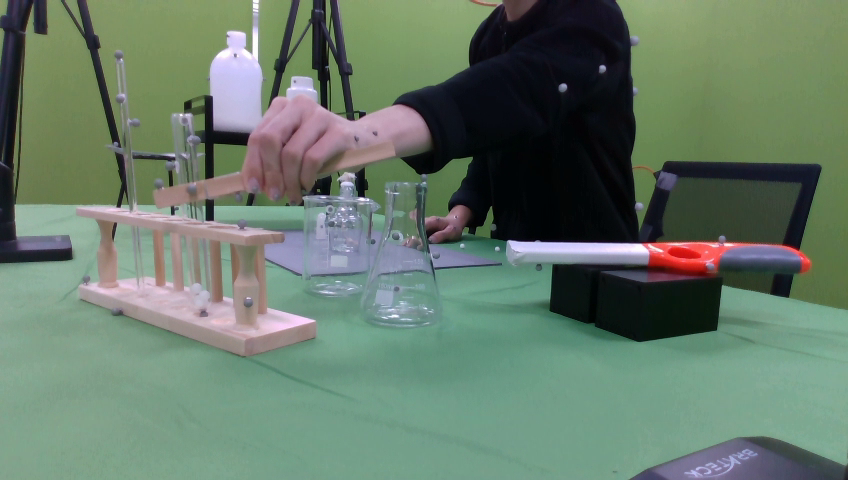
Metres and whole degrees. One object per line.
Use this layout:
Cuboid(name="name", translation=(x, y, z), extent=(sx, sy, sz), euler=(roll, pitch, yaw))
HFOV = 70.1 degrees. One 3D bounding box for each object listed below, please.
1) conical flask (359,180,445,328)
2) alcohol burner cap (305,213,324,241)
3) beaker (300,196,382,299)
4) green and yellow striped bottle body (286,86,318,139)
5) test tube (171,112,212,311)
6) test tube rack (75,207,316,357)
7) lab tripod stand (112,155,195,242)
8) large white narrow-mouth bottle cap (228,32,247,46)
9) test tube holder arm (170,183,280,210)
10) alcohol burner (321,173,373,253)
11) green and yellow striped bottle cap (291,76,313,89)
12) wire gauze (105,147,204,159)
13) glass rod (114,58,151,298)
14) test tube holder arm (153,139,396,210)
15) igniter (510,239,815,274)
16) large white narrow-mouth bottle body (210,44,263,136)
Cuboid(name="conical flask", translation=(-0.017, 0.010, 0.522), extent=(0.075, 0.122, 0.075), euler=(2, 7, 0))
Cuboid(name="alcohol burner cap", translation=(-0.185, -0.023, 1.027), extent=(0.034, 0.048, 0.034), euler=(3, 6, 0))
Cuboid(name="beaker", translation=(-0.087, 0.006, 0.626), extent=(0.084, 0.100, 0.074), euler=(1, 8, -17))
Cuboid(name="green and yellow striped bottle body", translation=(-0.251, -0.270, 1.245), extent=(0.063, 0.119, 0.063), euler=(2, 7, 0))
Cuboid(name="test tube", translation=(-0.174, -0.020, 0.454), extent=(0.017, 0.150, 0.017), euler=(-3, 8, 1))
Cuboid(name="test tube rack", translation=(-0.196, 0.023, 0.499), extent=(0.241, 0.085, 0.067), euler=(8, 9, 36))
Cuboid(name="lab tripod stand", translation=(-0.405, -0.064, 0.931), extent=(0.148, 0.131, 0.148), euler=(1, 6, 0))
Cuboid(name="large white narrow-mouth bottle cap", translation=(-0.364, -0.391, 1.180), extent=(0.038, 0.024, 0.037), euler=(3, 8, 0))
Cuboid(name="test tube holder arm", translation=(-0.151, -0.039, 0.455), extent=(0.088, 0.015, 0.010), euler=(-13, 4, 10))
Cuboid(name="alcohol burner", translation=(-0.115, -0.040, 0.905), extent=(0.078, 0.119, 0.078), euler=(1, 6, 0))
Cuboid(name="green and yellow striped bottle cap", translation=(-0.250, -0.321, 1.237), extent=(0.045, 0.020, 0.045), euler=(4, 4, 0))
Cuboid(name="wire gauze", translation=(-0.408, -0.131, 0.929), extent=(0.125, 0.011, 0.121), euler=(2, 6, -11))
Cuboid(name="glass rod", translation=(-0.237, -0.044, 0.492), extent=(0.008, 0.199, 0.008), euler=(1, 16, 0))
Cuboid(name="test tube holder arm", translation=(-0.108, -0.049, 0.451), extent=(0.179, 0.015, 0.013), euler=(-14, 5, -9))
Cuboid(name="igniter", translation=(0.220, 0.015, 0.565), extent=(0.277, 0.025, 0.057), euler=(2, 17, -1))
Cuboid(name="large white narrow-mouth bottle body", translation=(-0.369, -0.305, 1.194), extent=(0.102, 0.194, 0.102), euler=(3, 8, 0))
